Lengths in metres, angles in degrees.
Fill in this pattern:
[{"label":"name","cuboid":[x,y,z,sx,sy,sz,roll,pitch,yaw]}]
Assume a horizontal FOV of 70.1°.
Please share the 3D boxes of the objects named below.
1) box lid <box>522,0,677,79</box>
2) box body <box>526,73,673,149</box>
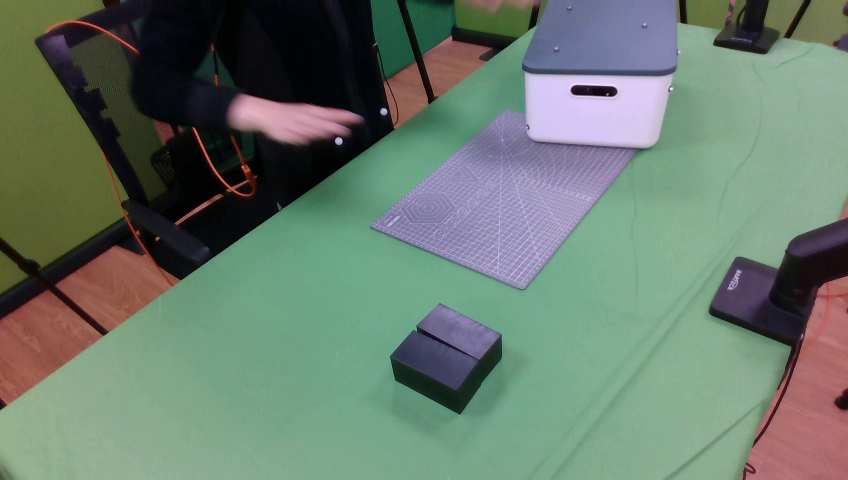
[{"label":"box lid","cuboid":[0.346,-0.397,1.163,0.262,0.015,0.371,6,42,17]},{"label":"box body","cuboid":[0.356,-0.342,1.212,0.253,0.161,0.363,7,42,17]}]
